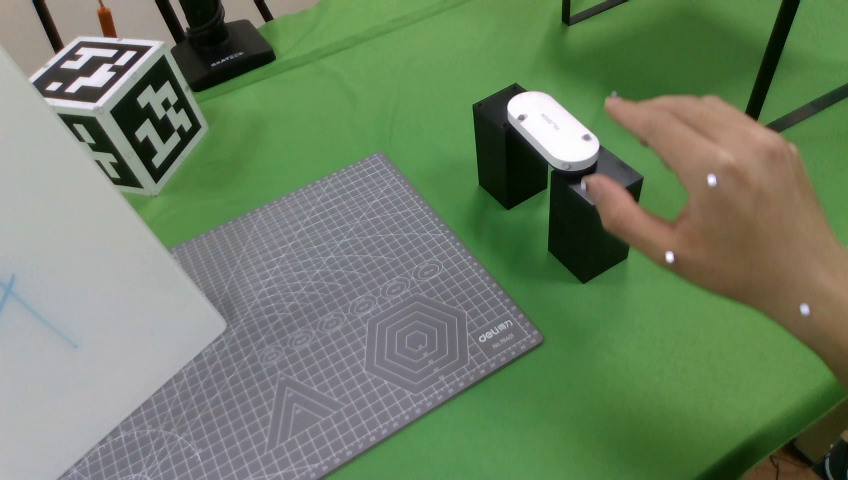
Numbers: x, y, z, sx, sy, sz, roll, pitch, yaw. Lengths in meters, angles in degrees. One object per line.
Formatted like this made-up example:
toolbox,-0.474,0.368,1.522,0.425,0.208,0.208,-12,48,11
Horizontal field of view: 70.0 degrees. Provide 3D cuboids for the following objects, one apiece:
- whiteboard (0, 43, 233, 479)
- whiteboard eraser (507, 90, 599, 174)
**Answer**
whiteboard,-0.341,0.020,0.461,0.142,0.308,0.217,16,52,46
whiteboard eraser,0.105,-0.092,0.503,0.041,0.019,0.100,-24,51,-12
